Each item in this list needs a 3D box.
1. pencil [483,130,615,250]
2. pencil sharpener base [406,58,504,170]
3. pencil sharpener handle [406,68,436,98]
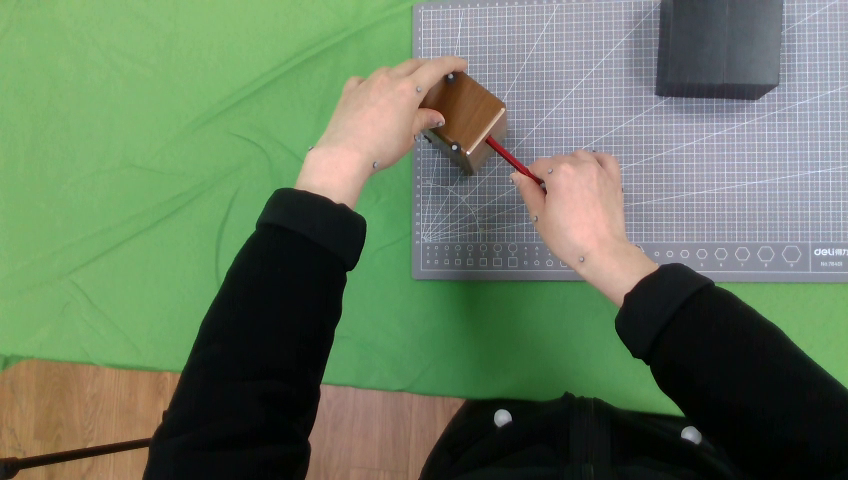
[{"bbox_3d":[0.099,-0.060,0.556,0.193,0.012,0.012,44,93,8],"label":"pencil"},{"bbox_3d":[0.032,-0.121,0.594,0.076,0.107,0.061,40,93,8],"label":"pencil sharpener base"},{"bbox_3d":[-0.007,-0.156,0.588,0.030,0.068,0.036,40,100,8],"label":"pencil sharpener handle"}]
